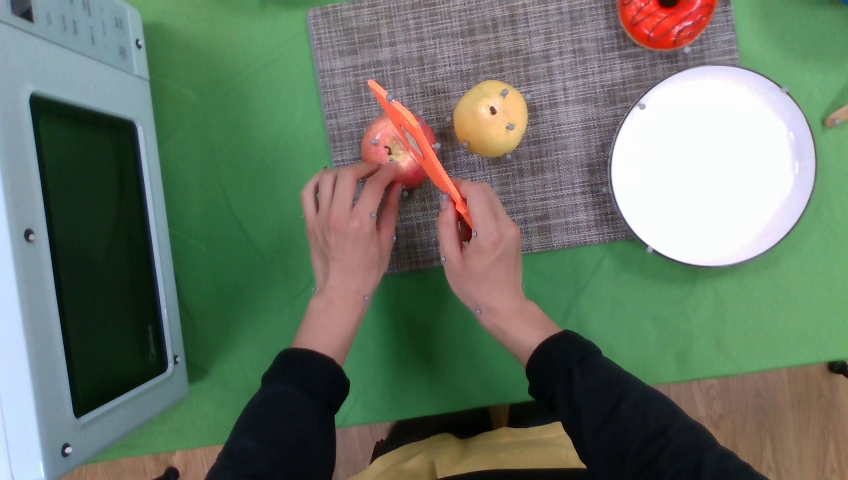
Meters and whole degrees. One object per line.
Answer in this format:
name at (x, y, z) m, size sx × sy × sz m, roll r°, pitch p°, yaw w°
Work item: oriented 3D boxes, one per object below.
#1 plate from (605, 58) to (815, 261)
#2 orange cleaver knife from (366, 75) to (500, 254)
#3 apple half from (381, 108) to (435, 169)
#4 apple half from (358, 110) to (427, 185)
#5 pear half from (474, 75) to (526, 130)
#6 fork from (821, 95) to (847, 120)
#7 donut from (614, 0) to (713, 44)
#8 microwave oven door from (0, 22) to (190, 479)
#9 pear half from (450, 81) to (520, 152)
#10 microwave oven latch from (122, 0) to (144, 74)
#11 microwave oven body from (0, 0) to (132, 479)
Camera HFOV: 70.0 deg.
plate at (0.294, -0.082, 0.636) m, size 0.209 × 0.038 × 0.209 m, roll 0°, pitch 94°, yaw 3°
orange cleaver knife at (0.012, -0.063, 0.553) m, size 0.012 × 0.076 × 0.214 m, roll -41°, pitch 131°, yaw -3°
apple half at (-0.009, -0.113, 0.632) m, size 0.033 × 0.081 × 0.081 m, roll -36°, pitch 91°, yaw 12°
apple half at (-0.039, -0.090, 0.638) m, size 0.053 × 0.074 × 0.081 m, roll -36°, pitch 97°, yaw 11°
pear half at (0.083, -0.146, 0.619) m, size 0.070 × 0.088 × 0.031 m, roll 41°, pitch 96°, yaw 6°
fork at (0.497, -0.184, 0.595) m, size 0.207 × 0.018 × 0.028 m, roll -36°, pitch 98°, yaw 26°
donut at (0.246, -0.252, 0.623) m, size 0.099 × 0.048 × 0.099 m, roll 1°, pitch 95°, yaw 6°
microwave oven door at (-0.309, 0.005, 0.564) m, size 0.039 × 0.243 × 0.356 m, roll -6°, pitch 93°, yaw 4°
pear half at (0.057, -0.121, 0.612) m, size 0.076 × 0.110 × 0.056 m, roll 41°, pitch 95°, yaw 5°
microwave oven latch at (-0.323, -0.220, 0.649) m, size 0.030 × 0.029 × 0.079 m, roll -4°, pitch 95°, yaw 3°
microwave oven body at (-0.458, -0.024, 0.576) m, size 0.326 × 0.260 × 0.442 m, roll -6°, pitch 94°, yaw 4°
